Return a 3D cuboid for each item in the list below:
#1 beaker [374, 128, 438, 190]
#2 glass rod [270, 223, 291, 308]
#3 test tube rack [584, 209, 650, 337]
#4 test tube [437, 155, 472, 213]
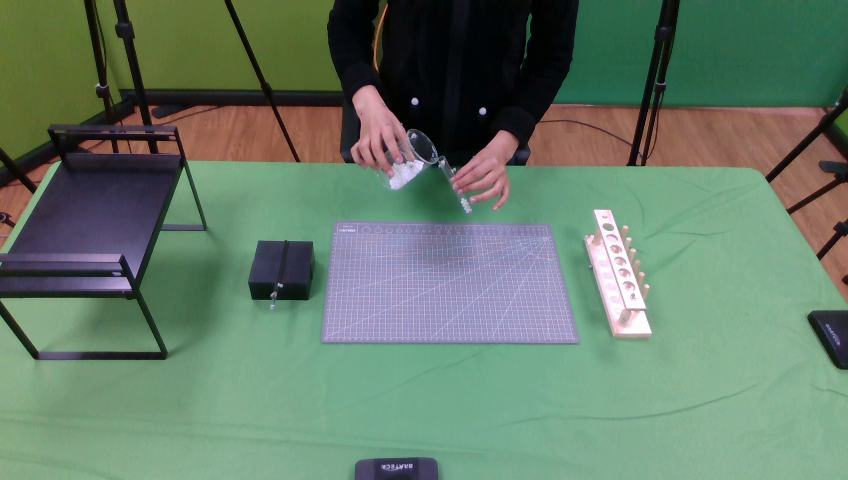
[{"bbox_3d":[-0.034,-0.141,1.092,0.084,0.100,0.073,25,44,-36],"label":"beaker"},{"bbox_3d":[-0.255,0.041,1.082,0.008,0.008,0.198,2,46,-2],"label":"glass rod"},{"bbox_3d":[0.365,0.056,1.129,0.067,0.085,0.240,1,46,-4],"label":"test tube rack"},{"bbox_3d":[0.059,-0.103,1.143,0.017,0.151,0.017,-16,46,17],"label":"test tube"}]
